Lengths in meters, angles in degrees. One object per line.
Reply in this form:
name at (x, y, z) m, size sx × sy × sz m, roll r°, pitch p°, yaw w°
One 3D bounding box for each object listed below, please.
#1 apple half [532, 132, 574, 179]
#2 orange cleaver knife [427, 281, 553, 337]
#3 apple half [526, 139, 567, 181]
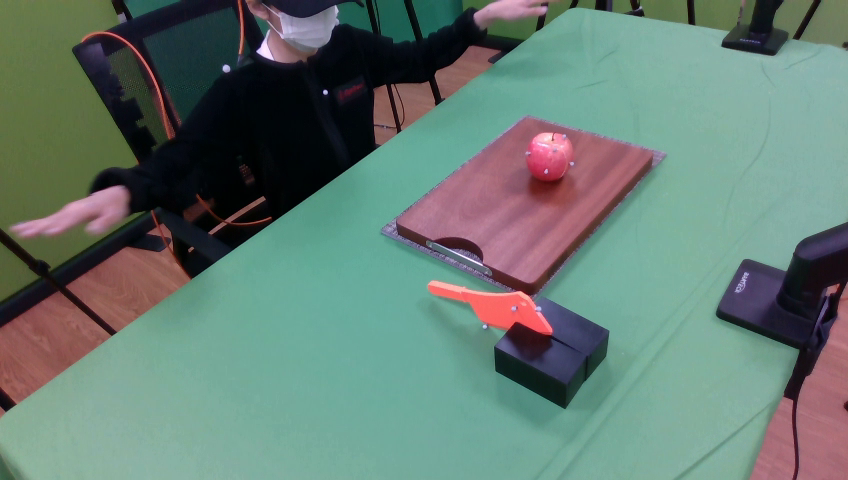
apple half at (0.222, -0.147, 1.031) m, size 0.080 × 0.075 × 0.053 m, roll 20°, pitch 44°, yaw 35°
orange cleaver knife at (0.082, 0.090, 0.810) m, size 0.012 × 0.077 × 0.209 m, roll -42°, pitch 28°, yaw -29°
apple half at (0.198, -0.127, 1.009) m, size 0.080 × 0.081 × 0.033 m, roll 24°, pitch 46°, yaw 32°
